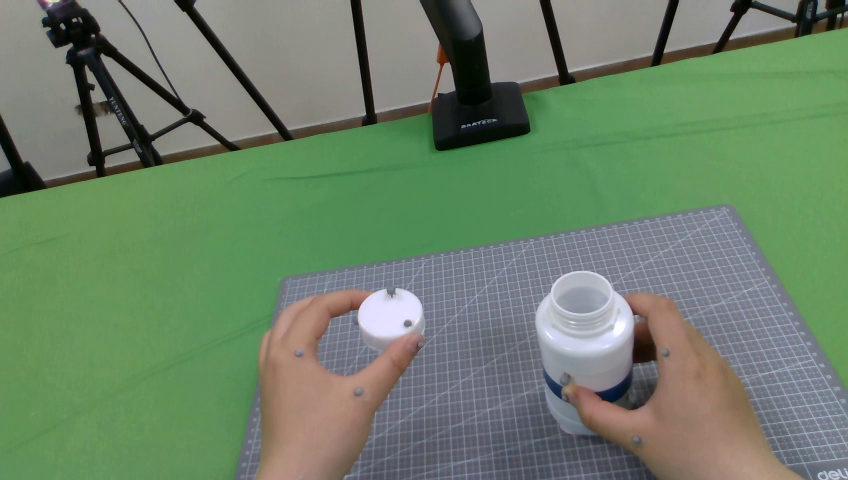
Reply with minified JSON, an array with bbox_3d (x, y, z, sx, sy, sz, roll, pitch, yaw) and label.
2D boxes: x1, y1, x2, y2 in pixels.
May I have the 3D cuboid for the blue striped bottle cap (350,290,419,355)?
[{"bbox_3d":[-0.026,0.054,0.400,0.045,0.021,0.044,10,34,-7],"label":"blue striped bottle cap"}]

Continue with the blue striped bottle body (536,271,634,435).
[{"bbox_3d":[0.110,0.076,0.416,0.063,0.122,0.062,-8,42,8],"label":"blue striped bottle body"}]
